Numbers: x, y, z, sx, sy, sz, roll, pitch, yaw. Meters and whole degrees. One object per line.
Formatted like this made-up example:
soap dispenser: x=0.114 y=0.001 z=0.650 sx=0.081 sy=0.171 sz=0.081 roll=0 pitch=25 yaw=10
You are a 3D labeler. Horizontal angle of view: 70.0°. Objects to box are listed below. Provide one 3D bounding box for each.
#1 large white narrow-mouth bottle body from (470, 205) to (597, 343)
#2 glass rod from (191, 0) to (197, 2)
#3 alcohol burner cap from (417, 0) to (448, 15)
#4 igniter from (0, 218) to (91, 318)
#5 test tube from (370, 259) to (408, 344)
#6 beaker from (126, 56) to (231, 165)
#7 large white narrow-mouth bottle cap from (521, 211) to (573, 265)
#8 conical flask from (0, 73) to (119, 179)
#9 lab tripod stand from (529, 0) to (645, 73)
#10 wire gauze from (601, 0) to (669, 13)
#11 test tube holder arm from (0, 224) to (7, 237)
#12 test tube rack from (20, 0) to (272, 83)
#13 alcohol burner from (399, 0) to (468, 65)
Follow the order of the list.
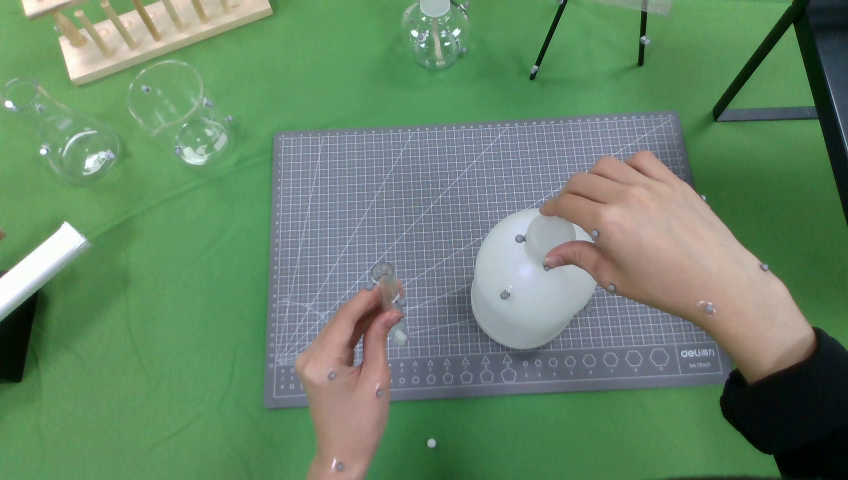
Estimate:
large white narrow-mouth bottle body: x=0.093 y=0.026 z=0.519 sx=0.102 sy=0.196 sz=0.101 roll=0 pitch=72 yaw=2
glass rod: x=-0.288 y=-0.328 z=0.636 sx=0.008 sy=0.201 sz=0.008 roll=-3 pitch=65 yaw=7
alcohol burner cap: x=0.009 y=-0.261 z=0.625 sx=0.034 sy=0.048 sz=0.033 roll=0 pitch=70 yaw=1
igniter: x=-0.426 y=0.084 z=0.548 sx=0.057 sy=0.025 sz=0.276 roll=40 pitch=73 yaw=11
test tube: x=-0.024 y=0.051 z=0.457 sx=0.017 sy=0.151 sz=0.017 roll=-1 pitch=64 yaw=2
beaker: x=-0.249 y=-0.126 z=0.629 sx=0.074 sy=0.101 sz=0.083 roll=12 pitch=72 yaw=6
large white narrow-mouth bottle cap: x=0.089 y=-0.001 z=0.436 sx=0.038 sy=0.024 sz=0.037 roll=0 pitch=72 yaw=1
conical flask: x=-0.375 y=-0.120 z=0.616 sx=0.075 sy=0.122 sz=0.075 roll=0 pitch=70 yaw=1
lab tripod stand: x=0.180 y=-0.255 z=0.648 sx=0.148 sy=0.132 sz=0.147 roll=0 pitch=70 yaw=0
wire gauze: x=0.186 y=-0.279 z=0.585 sx=0.121 sy=0.011 sz=0.124 roll=18 pitch=73 yaw=5
test tube holder arm: x=-0.439 y=0.017 z=0.575 sx=0.010 sy=0.015 sz=0.087 roll=41 pitch=76 yaw=13
test tube rack: x=-0.307 y=-0.271 z=0.687 sx=0.242 sy=0.086 sz=0.066 roll=-23 pitch=72 yaw=-7
alcohol burner: x=0.011 y=-0.248 z=0.659 sx=0.078 sy=0.120 sz=0.077 roll=0 pitch=69 yaw=0
